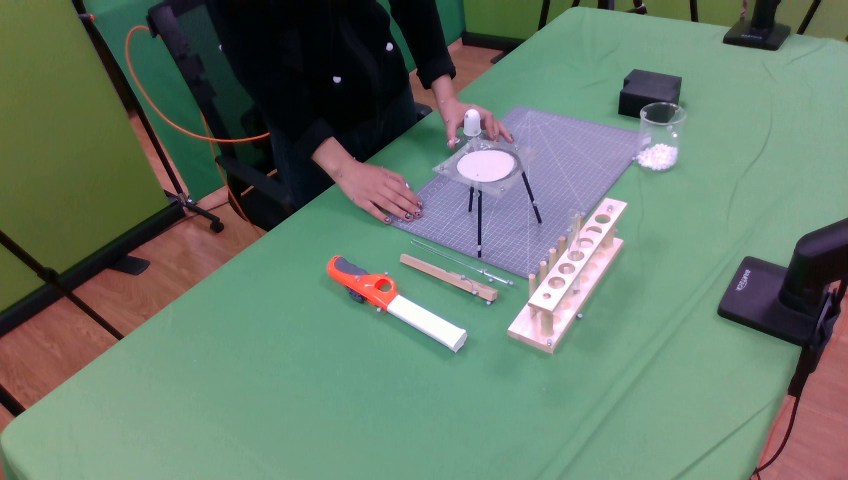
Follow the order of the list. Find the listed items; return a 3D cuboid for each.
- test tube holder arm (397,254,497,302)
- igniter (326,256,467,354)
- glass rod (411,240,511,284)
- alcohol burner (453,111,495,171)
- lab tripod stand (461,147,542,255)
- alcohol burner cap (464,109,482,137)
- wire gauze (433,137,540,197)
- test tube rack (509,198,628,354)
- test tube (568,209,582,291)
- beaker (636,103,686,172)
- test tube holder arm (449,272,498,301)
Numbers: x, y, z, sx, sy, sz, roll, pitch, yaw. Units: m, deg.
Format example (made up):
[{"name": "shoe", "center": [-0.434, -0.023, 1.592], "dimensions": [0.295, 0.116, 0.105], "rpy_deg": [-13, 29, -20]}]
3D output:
[{"name": "test tube holder arm", "center": [0.031, 0.055, 0.913], "dimensions": [0.177, 0.015, 0.013], "rpy_deg": [21, 11, 30]}, {"name": "igniter", "center": [-0.051, 0.088, 0.886], "dimensions": [0.274, 0.025, 0.057], "rpy_deg": [27, 62, 35]}, {"name": "glass rod", "center": [0.053, 0.033, 0.946], "dimensions": [0.198, 0.008, 0.008], "rpy_deg": [22, 50, 36]}, {"name": "alcohol burner", "center": [0.092, -0.187, 1.112], "dimensions": [0.078, 0.119, 0.077], "rpy_deg": [-4, 41, 4]}, {"name": "lab tripod stand", "center": [0.114, -0.069, 0.953], "dimensions": [0.148, 0.132, 0.147], "rpy_deg": [-5, 38, 4]}, {"name": "alcohol burner cap", "center": [0.088, -0.213, 1.088], "dimensions": [0.034, 0.048, 0.033], "rpy_deg": [-3, 48, 3]}, {"name": "wire gauze", "center": [0.094, -0.116, 0.907], "dimensions": [0.124, 0.011, 0.122], "rpy_deg": [21, 47, 30]}, {"name": "test tube rack", "center": [0.206, 0.039, 0.850], "dimensions": [0.066, 0.085, 0.243], "rpy_deg": [20, 48, 31]}, {"name": "test tube", "center": [0.200, 0.017, 0.799], "dimensions": [0.017, 0.151, 0.017], "rpy_deg": [-8, 45, 8]}, {"name": "beaker", "center": [0.413, -0.177, 1.055], "dimensions": [0.084, 0.101, 0.073], "rpy_deg": [-28, 44, -21]}, {"name": "test tube holder arm", "center": [0.070, 0.068, 0.895], "dimensions": [0.087, 0.015, 0.010], "rpy_deg": [21, 12, 32]}]
